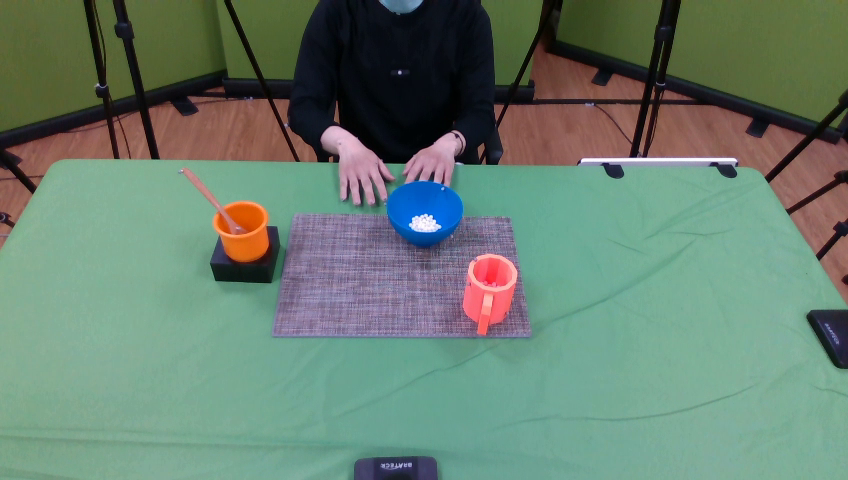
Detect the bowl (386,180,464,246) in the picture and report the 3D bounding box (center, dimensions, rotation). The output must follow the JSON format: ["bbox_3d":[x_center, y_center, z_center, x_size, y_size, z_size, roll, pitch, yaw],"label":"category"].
[{"bbox_3d":[0.000,-0.041,1.191,0.151,0.077,0.150,2,46,-2],"label":"bowl"}]

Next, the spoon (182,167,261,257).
[{"bbox_3d":[-0.354,-0.049,1.061,0.041,0.194,0.021,-44,19,-31],"label":"spoon"}]

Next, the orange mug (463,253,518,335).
[{"bbox_3d":[0.113,0.098,1.050,0.083,0.101,0.125,10,42,6],"label":"orange mug"}]
